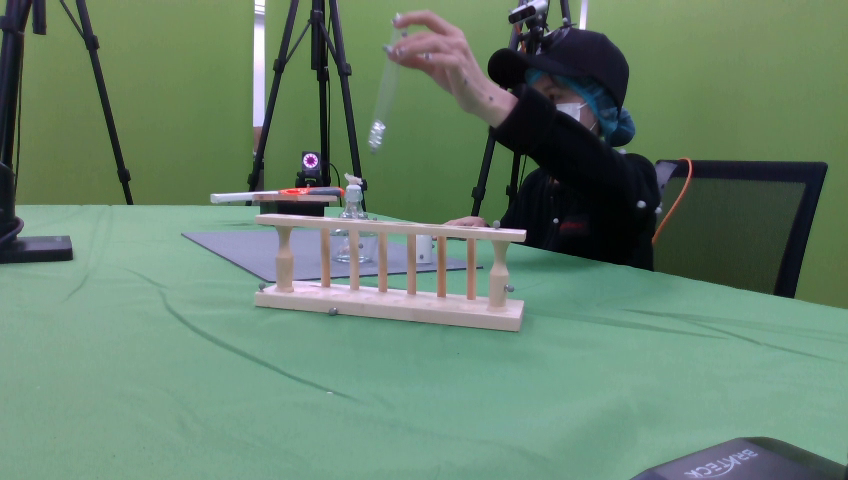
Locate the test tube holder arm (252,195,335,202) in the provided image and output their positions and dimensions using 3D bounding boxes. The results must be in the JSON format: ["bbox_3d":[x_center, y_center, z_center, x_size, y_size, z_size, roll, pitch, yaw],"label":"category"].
[{"bbox_3d":[-0.261,-0.084,1.226,0.179,0.015,0.013,-3,3,-38],"label":"test tube holder arm"}]

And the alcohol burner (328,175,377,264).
[{"bbox_3d":[-0.098,-0.028,0.819,0.078,0.119,0.078,1,8,0],"label":"alcohol burner"}]

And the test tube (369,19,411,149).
[{"bbox_3d":[-0.041,-0.179,0.697,0.017,0.150,0.017,14,6,-1],"label":"test tube"}]

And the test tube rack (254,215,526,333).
[{"bbox_3d":[-0.030,0.025,0.557,0.242,0.085,0.067,4,7,12],"label":"test tube rack"}]

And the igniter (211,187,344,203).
[{"bbox_3d":[-0.299,-0.094,1.266,0.278,0.025,0.057,-6,12,-33],"label":"igniter"}]

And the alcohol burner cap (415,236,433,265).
[{"bbox_3d":[-0.004,0.011,0.835,0.034,0.048,0.034,2,6,0],"label":"alcohol burner cap"}]

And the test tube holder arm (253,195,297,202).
[{"bbox_3d":[-0.294,-0.082,1.193,0.088,0.015,0.010,-3,3,-37],"label":"test tube holder arm"}]
